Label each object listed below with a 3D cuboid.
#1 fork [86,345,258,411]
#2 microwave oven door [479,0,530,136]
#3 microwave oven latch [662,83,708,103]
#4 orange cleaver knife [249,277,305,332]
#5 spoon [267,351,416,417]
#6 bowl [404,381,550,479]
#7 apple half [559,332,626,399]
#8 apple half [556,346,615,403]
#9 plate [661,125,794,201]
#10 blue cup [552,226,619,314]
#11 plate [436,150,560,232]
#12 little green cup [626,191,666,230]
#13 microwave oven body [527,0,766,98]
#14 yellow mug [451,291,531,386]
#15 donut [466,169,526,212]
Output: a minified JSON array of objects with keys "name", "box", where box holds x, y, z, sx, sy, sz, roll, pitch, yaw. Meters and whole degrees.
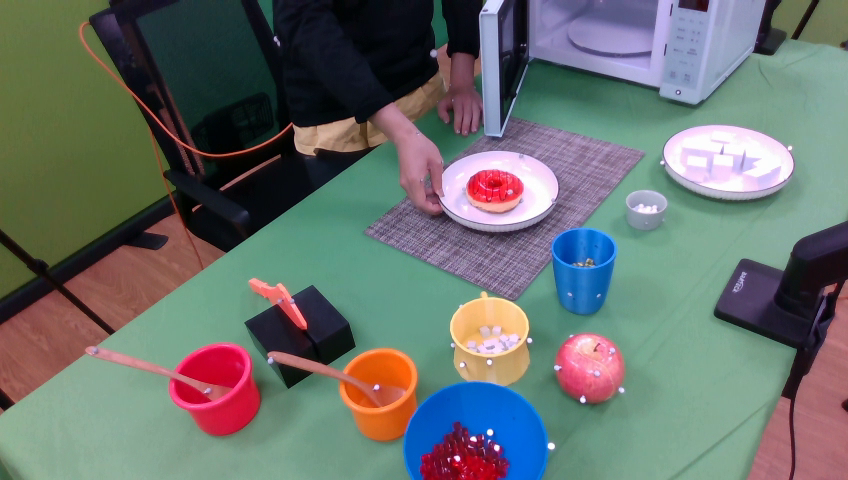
[{"name":"fork","box":[-0.299,0.167,0.728,0.209,0.018,0.028,28,47,-23]},{"name":"microwave oven door","box":[0.170,-0.408,1.232,0.039,0.245,0.355,6,42,16]},{"name":"microwave oven latch","box":[0.517,-0.296,1.204,0.078,0.029,0.030,27,52,35]},{"name":"orange cleaver knife","box":[-0.210,0.088,0.855,0.012,0.077,0.210,-28,15,-24]},{"name":"spoon","box":[-0.091,0.163,0.699,0.021,0.195,0.041,-44,30,27]},{"name":"bowl","box":[0.058,0.235,0.645,0.151,0.077,0.150,-4,39,4]},{"name":"apple half","box":[0.209,0.147,0.730,0.080,0.075,0.053,26,48,38]},{"name":"apple half","box":[0.181,0.167,0.709,0.080,0.081,0.033,29,50,35]},{"name":"plate","box":[0.513,-0.128,1.035,0.207,0.039,0.206,-4,40,4]},{"name":"blue cup","box":[0.218,0.047,0.825,0.092,0.101,0.092,-6,40,5]},{"name":"plate","box":[0.125,-0.080,1.026,0.209,0.038,0.208,-2,42,3]},{"name":"little green cup","box":[0.352,-0.046,0.963,0.061,0.039,0.061,-4,40,4]},{"name":"microwave oven body","box":[0.472,-0.513,1.317,0.438,0.261,0.327,25,51,34]},{"name":"yellow mug","box":[0.086,0.120,0.786,0.100,0.064,0.130,-7,39,2]},{"name":"donut","box":[0.121,-0.084,1.016,0.099,0.048,0.098,-1,39,2]}]
